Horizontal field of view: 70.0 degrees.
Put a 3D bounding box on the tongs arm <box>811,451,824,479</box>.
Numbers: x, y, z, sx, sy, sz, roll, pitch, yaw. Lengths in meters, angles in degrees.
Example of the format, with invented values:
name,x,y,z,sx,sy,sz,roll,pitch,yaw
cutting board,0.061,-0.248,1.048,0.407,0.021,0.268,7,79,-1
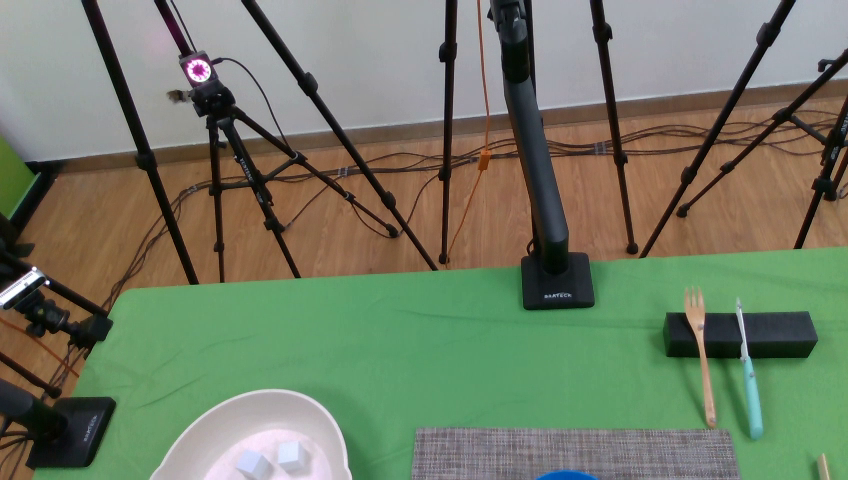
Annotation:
name,x,y,z,sx,sy,sz,roll,pitch,yaw
tongs arm,0.493,0.430,0.682,0.028,0.028,0.384,1,50,11

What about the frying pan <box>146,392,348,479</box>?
name,x,y,z,sx,sy,sz,roll,pitch,yaw
frying pan,-0.261,0.432,0.795,0.306,0.104,0.483,-3,40,11

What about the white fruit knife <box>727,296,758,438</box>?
name,x,y,z,sx,sy,sz,roll,pitch,yaw
white fruit knife,0.456,0.178,0.876,0.016,0.027,0.205,0,64,7

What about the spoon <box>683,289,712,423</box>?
name,x,y,z,sx,sy,sz,roll,pitch,yaw
spoon,0.402,0.168,0.889,0.041,0.022,0.192,-6,66,37

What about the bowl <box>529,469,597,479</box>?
name,x,y,z,sx,sy,sz,roll,pitch,yaw
bowl,0.179,0.376,0.759,0.151,0.077,0.150,-6,48,7
